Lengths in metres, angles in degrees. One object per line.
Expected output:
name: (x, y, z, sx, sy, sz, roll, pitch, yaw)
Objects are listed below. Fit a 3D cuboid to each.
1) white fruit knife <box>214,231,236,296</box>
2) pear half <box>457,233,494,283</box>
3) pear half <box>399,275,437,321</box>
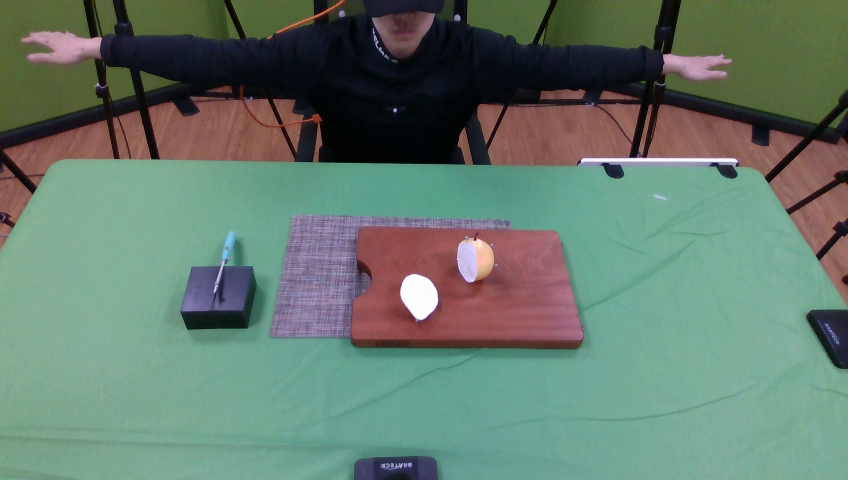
white fruit knife: (-0.359, 0.038, 1.091, 0.016, 0.027, 0.206, 5, 29, -11)
pear half: (0.098, 0.023, 1.087, 0.056, 0.110, 0.076, -23, 55, -24)
pear half: (-0.013, 0.104, 1.051, 0.070, 0.031, 0.087, 12, 58, -15)
